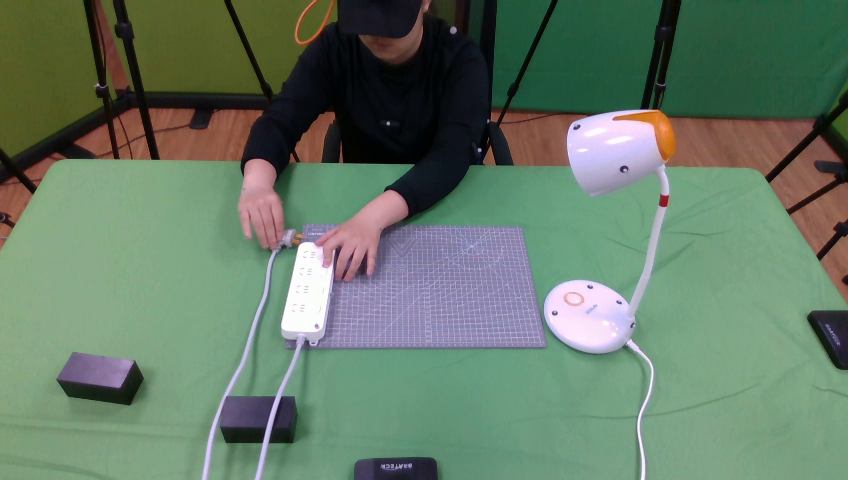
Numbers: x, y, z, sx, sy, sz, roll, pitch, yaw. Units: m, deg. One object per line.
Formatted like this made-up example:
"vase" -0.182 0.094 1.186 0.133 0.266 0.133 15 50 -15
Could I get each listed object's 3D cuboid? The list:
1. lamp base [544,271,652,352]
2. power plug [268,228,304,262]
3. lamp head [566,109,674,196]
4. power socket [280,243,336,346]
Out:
"lamp base" 0.309 0.086 1.029 0.178 0.181 0.160 32 52 21
"power plug" -0.265 0.013 1.172 0.052 0.035 0.072 13 84 10
"lamp head" 0.272 -0.123 0.818 0.122 0.113 0.112 -9 35 37
"power socket" -0.205 0.088 1.087 0.072 0.033 0.225 3 45 -1
